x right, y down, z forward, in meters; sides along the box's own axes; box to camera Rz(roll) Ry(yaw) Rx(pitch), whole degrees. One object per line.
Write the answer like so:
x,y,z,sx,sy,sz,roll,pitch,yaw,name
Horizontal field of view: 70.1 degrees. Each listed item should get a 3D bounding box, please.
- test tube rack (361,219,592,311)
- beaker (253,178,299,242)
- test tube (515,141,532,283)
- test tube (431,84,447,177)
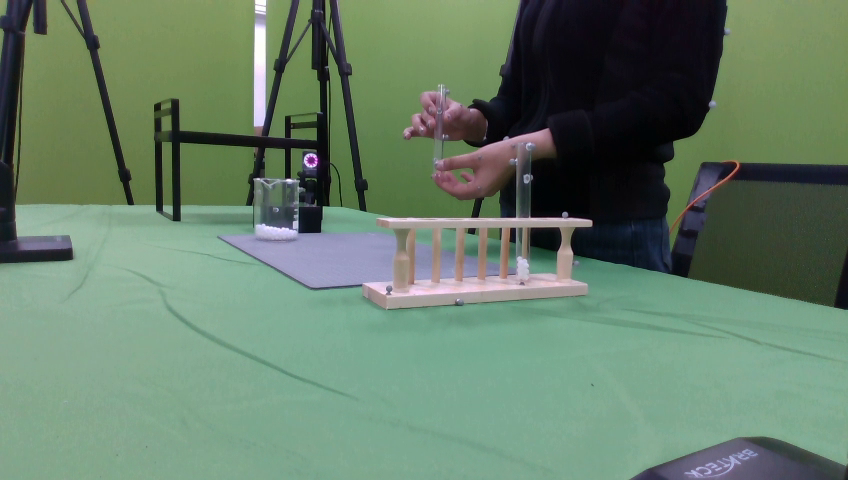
0.060,0.019,0.640,0.243,0.085,0.066,-1,8,-27,test tube rack
-0.243,-0.050,0.990,0.074,0.100,0.084,2,9,1,beaker
0.104,-0.028,0.635,0.017,0.150,0.017,-1,12,1,test tube
0.023,-0.169,0.931,0.017,0.150,0.017,4,-12,1,test tube
